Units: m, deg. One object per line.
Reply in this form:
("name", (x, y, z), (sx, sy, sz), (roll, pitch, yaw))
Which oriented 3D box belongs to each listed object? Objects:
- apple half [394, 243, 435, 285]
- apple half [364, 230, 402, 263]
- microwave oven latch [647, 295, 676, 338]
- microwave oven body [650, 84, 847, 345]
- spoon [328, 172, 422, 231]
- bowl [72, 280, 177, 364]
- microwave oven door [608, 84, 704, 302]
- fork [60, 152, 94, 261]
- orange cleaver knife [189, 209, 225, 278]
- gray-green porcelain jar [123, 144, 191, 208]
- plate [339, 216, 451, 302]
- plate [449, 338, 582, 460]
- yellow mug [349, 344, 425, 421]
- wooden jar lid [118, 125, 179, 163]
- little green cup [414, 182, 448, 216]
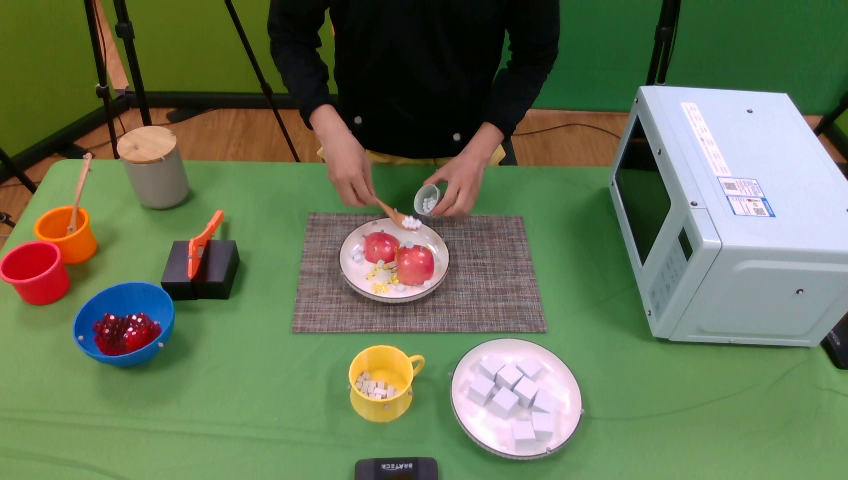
("apple half", (-0.016, 0.037, 1.120), (0.075, 0.053, 0.080), (1, 46, -6))
("apple half", (-0.079, 0.005, 1.160), (0.081, 0.033, 0.081), (3, 49, -4))
("microwave oven latch", (0.413, 0.133, 1.060), (0.030, 0.029, 0.078), (4, 46, 1))
("microwave oven body", (0.569, -0.054, 1.116), (0.326, 0.261, 0.439), (2, 46, -1))
("spoon", (-0.089, -0.071, 1.093), (0.194, 0.022, 0.041), (35, 39, -3))
("bowl", (-0.472, 0.147, 0.982), (0.151, 0.077, 0.150), (2, 46, -2))
("microwave oven door", (0.424, -0.096, 1.138), (0.039, 0.245, 0.353), (3, 46, -1))
("fork", (-0.638, -0.063, 1.119), (0.028, 0.018, 0.207), (12, 90, 7))
("orange cleaver knife", (-0.400, 0.002, 1.122), (0.012, 0.077, 0.210), (4, 23, -4))
("gray-green porcelain jar", (-0.531, -0.137, 1.213), (0.106, 0.127, 0.105), (2, 47, -2))
("plate", (-0.054, 0.038, 1.138), (0.209, 0.038, 0.208), (2, 46, -2))
("plate", (0.141, 0.251, 0.955), (0.208, 0.039, 0.206), (2, 47, -2))
("yellow mug", (-0.054, 0.217, 0.954), (0.131, 0.064, 0.099), (-24, 53, -25))
("wooden jar lid", (-0.528, -0.181, 1.167), (0.108, 0.021, 0.107), (4, 48, -4))
("little green cup", (0.015, -0.075, 1.149), (0.061, 0.039, 0.061), (-11, 68, 30))
